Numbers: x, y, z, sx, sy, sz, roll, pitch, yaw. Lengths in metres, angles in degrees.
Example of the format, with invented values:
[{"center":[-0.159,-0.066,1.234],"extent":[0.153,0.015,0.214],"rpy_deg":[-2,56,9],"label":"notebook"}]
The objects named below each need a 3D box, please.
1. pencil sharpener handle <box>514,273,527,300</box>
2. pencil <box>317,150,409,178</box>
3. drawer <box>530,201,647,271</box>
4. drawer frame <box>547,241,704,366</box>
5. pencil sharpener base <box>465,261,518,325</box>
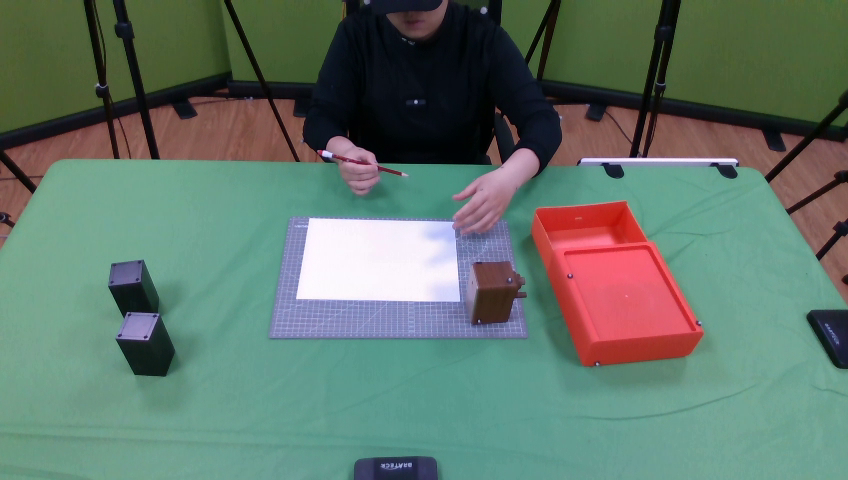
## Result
[{"center":[0.168,0.081,1.051],"extent":[0.031,0.068,0.035],"rpy_deg":[-3,49,-7],"label":"pencil sharpener handle"},{"center":[-0.124,-0.153,1.228],"extent":[0.194,0.012,0.012],"rpy_deg":[15,46,2],"label":"pencil"},{"center":[0.328,0.025,1.159],"extent":[0.195,0.073,0.210],"rpy_deg":[-5,46,-9],"label":"drawer"},{"center":[0.348,0.106,1.077],"extent":[0.202,0.083,0.212],"rpy_deg":[-4,47,-9],"label":"drawer frame"},{"center":[0.117,0.093,1.052],"extent":[0.077,0.107,0.061],"rpy_deg":[-3,46,-7],"label":"pencil sharpener base"}]
